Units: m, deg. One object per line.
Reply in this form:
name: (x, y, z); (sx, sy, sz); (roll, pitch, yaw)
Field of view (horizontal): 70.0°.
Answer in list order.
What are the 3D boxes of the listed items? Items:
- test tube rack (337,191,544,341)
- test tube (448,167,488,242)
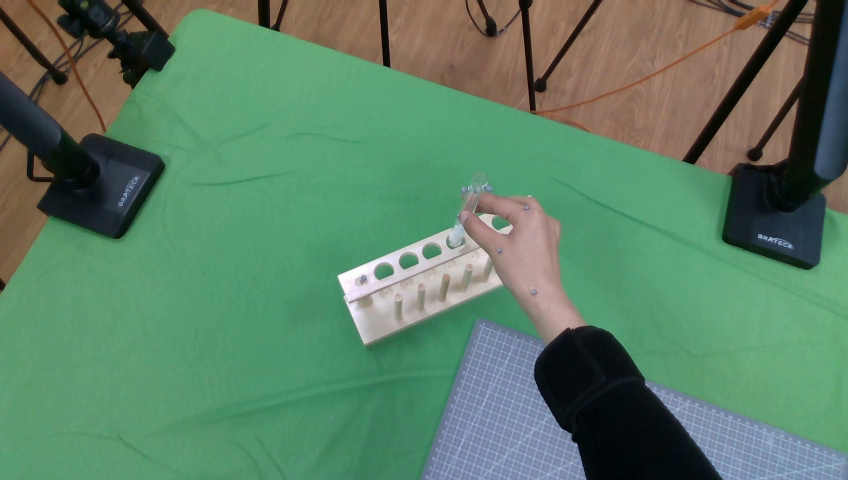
test tube rack: (0.027, 0.031, 0.708); (0.242, 0.086, 0.066); (-22, 71, -11)
test tube: (0.043, -0.032, 0.620); (0.017, 0.151, 0.017); (3, 67, -6)
